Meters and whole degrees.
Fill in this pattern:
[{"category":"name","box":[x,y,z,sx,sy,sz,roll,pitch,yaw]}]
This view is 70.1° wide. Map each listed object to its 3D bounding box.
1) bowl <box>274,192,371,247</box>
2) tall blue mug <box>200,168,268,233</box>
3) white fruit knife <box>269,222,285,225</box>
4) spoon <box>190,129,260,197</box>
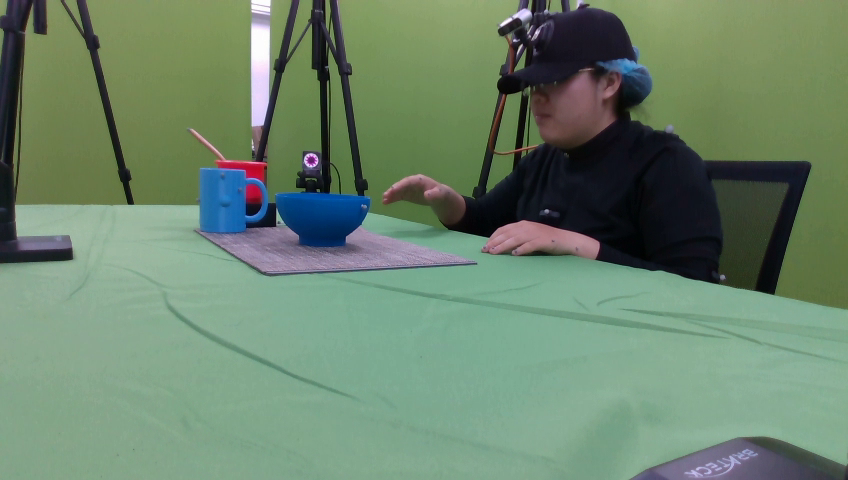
[{"category":"bowl","box":[-0.161,-0.032,0.958,0.151,0.077,0.151,3,7,0]},{"category":"tall blue mug","box":[-0.342,-0.071,1.072,0.077,0.108,0.108,8,9,38]},{"category":"white fruit knife","box":[-0.221,-0.037,1.261,0.208,0.016,0.027,-4,-17,-32]},{"category":"spoon","box":[-0.388,-0.150,1.174,0.193,0.021,0.042,49,19,7]}]
